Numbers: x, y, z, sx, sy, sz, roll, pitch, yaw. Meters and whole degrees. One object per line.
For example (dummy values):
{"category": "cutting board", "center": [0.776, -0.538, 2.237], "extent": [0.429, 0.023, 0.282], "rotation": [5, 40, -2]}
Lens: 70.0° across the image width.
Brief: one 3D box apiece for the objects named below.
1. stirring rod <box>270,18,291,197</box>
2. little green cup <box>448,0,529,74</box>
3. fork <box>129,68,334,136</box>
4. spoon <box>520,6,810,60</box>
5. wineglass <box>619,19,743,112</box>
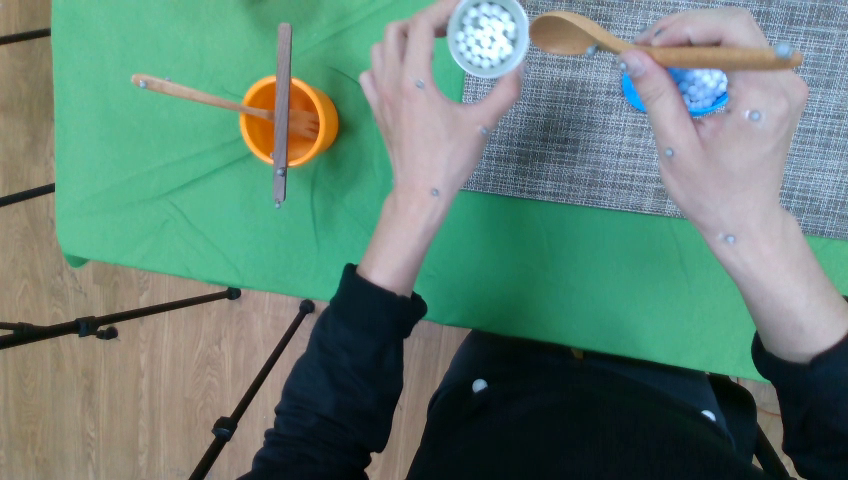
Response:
{"category": "stirring rod", "center": [-0.145, -0.130, 0.609], "extent": [0.014, 0.006, 0.177], "rotation": [8, 104, 7]}
{"category": "little green cup", "center": [0.049, -0.159, 0.465], "extent": [0.061, 0.038, 0.062], "rotation": [1, 110, 3]}
{"category": "fork", "center": [-0.186, -0.140, 0.615], "extent": [0.209, 0.018, 0.028], "rotation": [8, 116, -38]}
{"category": "spoon", "center": [0.117, -0.111, 0.335], "extent": [0.042, 0.191, 0.021], "rotation": [33, 94, -35]}
{"category": "wineglass", "center": [0.219, -0.151, 0.536], "extent": [0.073, 0.172, 0.074], "rotation": [2, 103, 8]}
